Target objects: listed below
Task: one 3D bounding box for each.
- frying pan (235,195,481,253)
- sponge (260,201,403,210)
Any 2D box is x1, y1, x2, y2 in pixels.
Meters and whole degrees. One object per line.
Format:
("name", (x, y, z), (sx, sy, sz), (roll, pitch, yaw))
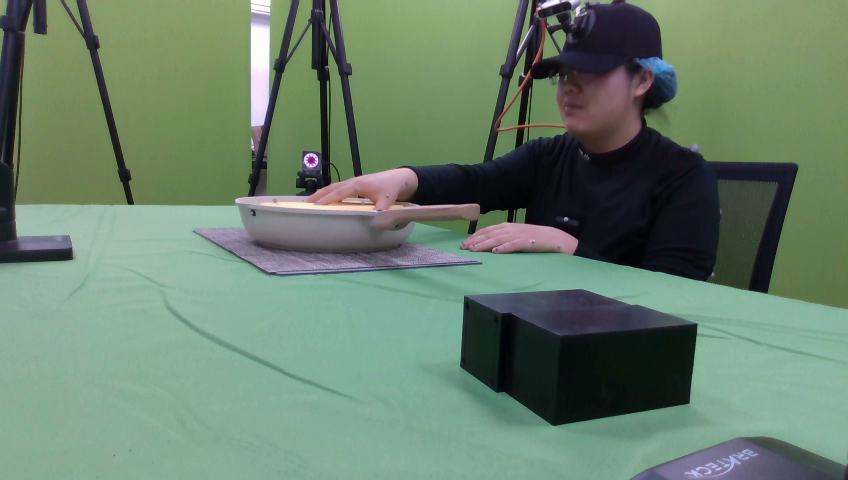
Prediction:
("frying pan", (-0.089, -0.033, 0.891), (0.308, 0.102, 0.485), (-4, 2, -36))
("sponge", (-0.144, -0.029, 0.973), (0.117, 0.061, 0.208), (7, 8, 38))
